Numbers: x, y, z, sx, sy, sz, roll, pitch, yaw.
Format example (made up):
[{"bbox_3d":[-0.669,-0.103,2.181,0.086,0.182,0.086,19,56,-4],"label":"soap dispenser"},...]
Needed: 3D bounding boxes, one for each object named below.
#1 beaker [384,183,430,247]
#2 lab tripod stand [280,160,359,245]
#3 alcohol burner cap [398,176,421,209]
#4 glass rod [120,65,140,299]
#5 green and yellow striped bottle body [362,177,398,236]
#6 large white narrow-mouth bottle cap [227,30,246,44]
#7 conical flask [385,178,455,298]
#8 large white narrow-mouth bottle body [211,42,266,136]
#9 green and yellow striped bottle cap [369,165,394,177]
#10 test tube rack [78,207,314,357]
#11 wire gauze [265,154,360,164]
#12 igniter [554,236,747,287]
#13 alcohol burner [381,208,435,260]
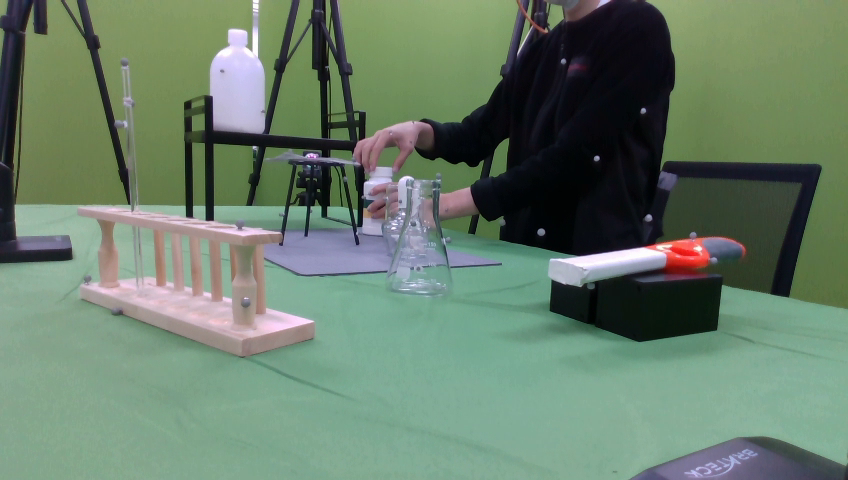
[{"bbox_3d":[-0.027,-0.041,0.996,0.074,0.100,0.083,-5,11,-43],"label":"beaker"},{"bbox_3d":[-0.176,-0.062,0.973,0.148,0.131,0.148,1,7,0],"label":"lab tripod stand"},{"bbox_3d":[-0.023,-0.068,0.866,0.034,0.048,0.034,-5,8,1],"label":"alcohol burner cap"},{"bbox_3d":[-0.249,-0.047,0.513,0.008,0.199,0.008,-1,4,0],"label":"glass rod"},{"bbox_3d":[-0.081,-0.069,1.118,0.063,0.119,0.063,3,7,0],"label":"green and yellow striped bottle body"},{"bbox_3d":[-0.361,-0.389,1.165,0.038,0.024,0.037,1,7,0],"label":"large white narrow-mouth bottle cap"},{"bbox_3d":[-0.002,-0.004,0.639,0.075,0.122,0.075,2,7,0],"label":"conical flask"},{"bbox_3d":[-0.361,-0.302,1.176,0.102,0.194,0.102,1,7,0],"label":"large white narrow-mouth bottle body"},{"bbox_3d":[-0.078,-0.127,1.112,0.045,0.020,0.045,1,10,0],"label":"green and yellow striped bottle cap"},{"bbox_3d":[-0.196,0.023,0.499,0.241,0.085,0.067,8,8,37],"label":"test tube rack"},{"bbox_3d":[-0.181,-0.129,0.969,0.126,0.011,0.121,-1,7,-27],"label":"wire gauze"},{"bbox_3d":[0.221,0.017,0.558,0.278,0.025,0.057,-5,15,-39],"label":"igniter"},{"bbox_3d":[-0.023,-0.032,0.871,0.078,0.119,0.078,0,6,0],"label":"alcohol burner"}]
